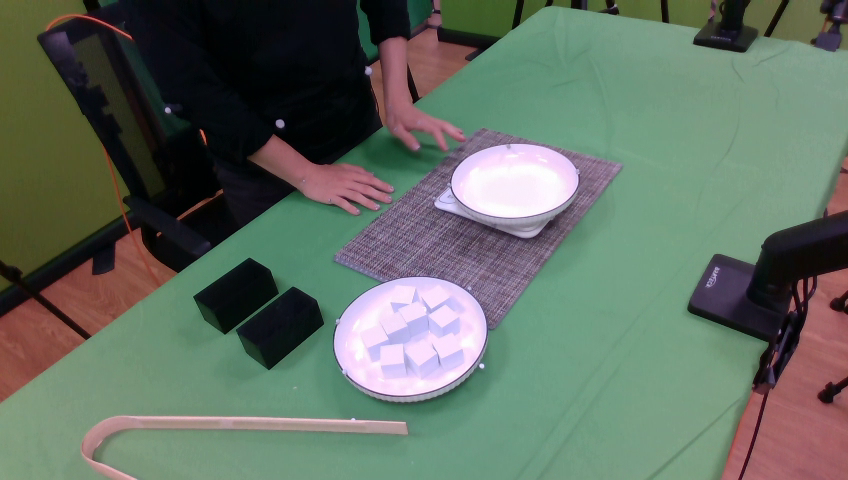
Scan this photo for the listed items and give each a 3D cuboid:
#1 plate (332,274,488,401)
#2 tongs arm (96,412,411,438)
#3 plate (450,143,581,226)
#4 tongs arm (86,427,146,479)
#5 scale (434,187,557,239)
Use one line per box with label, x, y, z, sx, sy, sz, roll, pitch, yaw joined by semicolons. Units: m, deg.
plate;-0.017;0.130;0.808;0.207;0.039;0.206;-4;41;4
tongs arm;-0.208;0.227;0.732;0.387;0.028;0.028;-1;43;7
plate;0.148;-0.087;0.986;0.209;0.038;0.208;-4;41;4
tongs arm;-0.232;0.280;0.665;0.383;0.026;0.051;9;42;20
scale;0.132;-0.075;1.025;0.199;0.032;0.149;22;48;30
